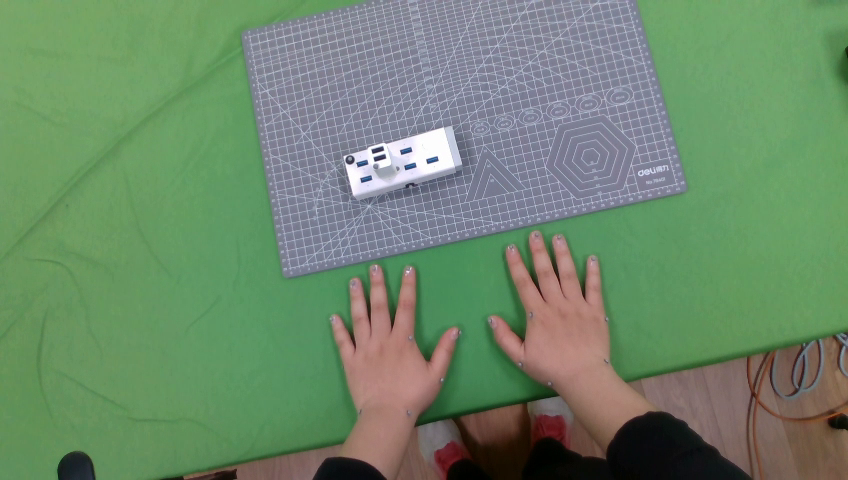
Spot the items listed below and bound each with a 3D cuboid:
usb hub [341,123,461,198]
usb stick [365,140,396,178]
[{"bbox_3d":[-0.025,-0.088,0.667,0.125,0.025,0.049,-16,81,3],"label":"usb hub"},{"bbox_3d":[-0.045,-0.083,0.639,0.021,0.059,0.027,-19,79,3],"label":"usb stick"}]
